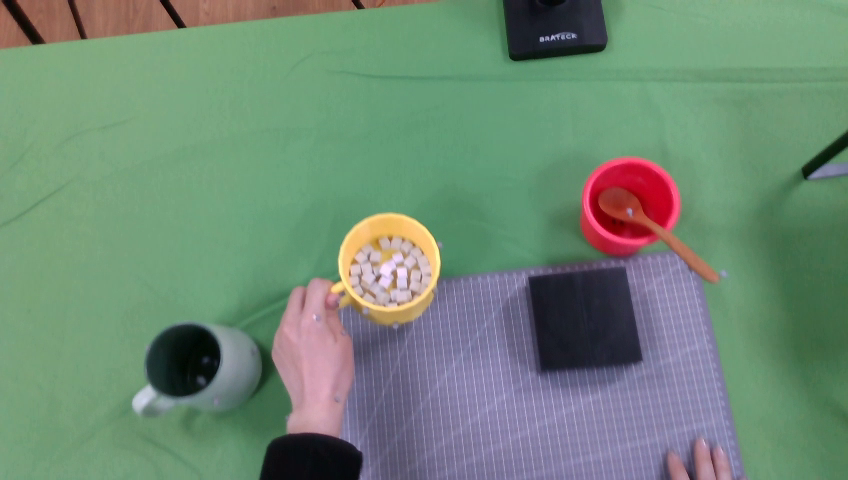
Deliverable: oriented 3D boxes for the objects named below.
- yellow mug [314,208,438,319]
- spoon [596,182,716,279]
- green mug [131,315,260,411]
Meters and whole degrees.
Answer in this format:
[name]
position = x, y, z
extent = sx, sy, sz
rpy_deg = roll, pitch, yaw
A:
[yellow mug]
position = -0.051, 0.032, 0.612
extent = 0.131, 0.064, 0.099
rpy_deg = -27, 76, -11
[spoon]
position = 0.231, -0.015, 0.615
extent = 0.041, 0.192, 0.022
rpy_deg = -20, 119, -3
[green mug]
position = -0.243, 0.135, 0.631
extent = 0.125, 0.105, 0.092
rpy_deg = -38, 75, -7
